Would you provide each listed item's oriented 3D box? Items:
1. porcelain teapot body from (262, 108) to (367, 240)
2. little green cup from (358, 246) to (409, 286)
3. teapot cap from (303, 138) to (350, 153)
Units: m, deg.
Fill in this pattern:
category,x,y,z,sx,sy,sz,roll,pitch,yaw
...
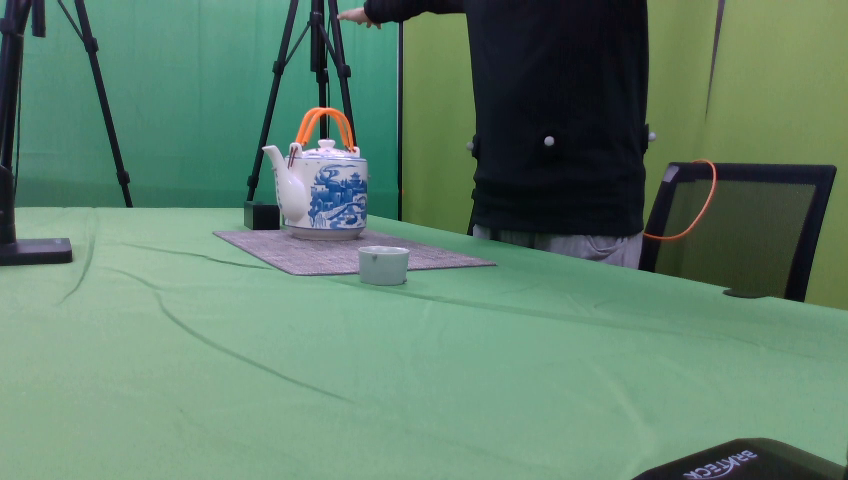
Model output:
category,x,y,z,sx,sy,sz,roll,pitch,yaw
porcelain teapot body,-0.190,-0.115,1.041,0.144,0.225,0.206,8,10,36
little green cup,-0.048,0.030,0.707,0.061,0.038,0.061,2,8,0
teapot cap,-0.172,-0.157,1.061,0.085,0.044,0.085,-1,7,0
